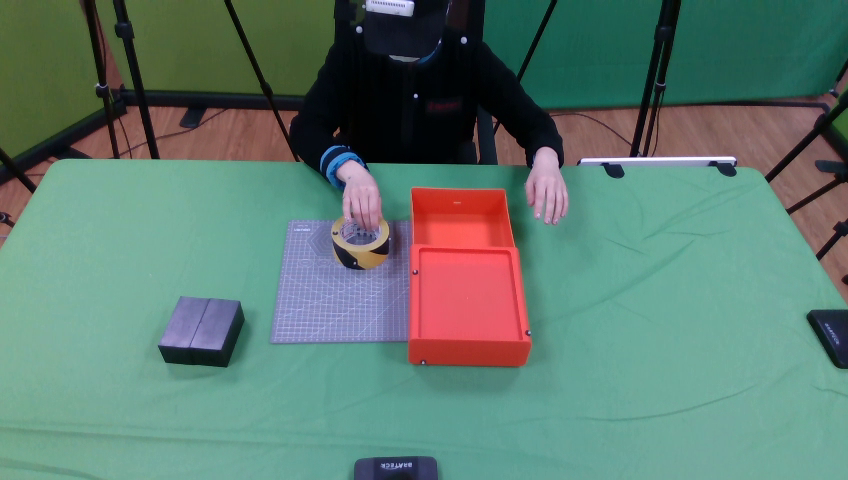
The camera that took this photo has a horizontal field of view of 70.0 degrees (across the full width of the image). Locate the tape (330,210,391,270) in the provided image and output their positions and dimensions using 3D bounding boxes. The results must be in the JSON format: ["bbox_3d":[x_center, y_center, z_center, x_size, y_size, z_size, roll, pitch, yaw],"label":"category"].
[{"bbox_3d":[-0.123,-0.002,1.164,0.117,0.053,0.116,3,46,-2],"label":"tape"}]

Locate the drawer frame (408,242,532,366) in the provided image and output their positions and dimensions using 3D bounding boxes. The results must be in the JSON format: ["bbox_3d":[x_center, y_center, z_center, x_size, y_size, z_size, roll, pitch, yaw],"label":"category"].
[{"bbox_3d":[0.073,0.107,1.053,0.202,0.083,0.212,2,47,-3],"label":"drawer frame"}]

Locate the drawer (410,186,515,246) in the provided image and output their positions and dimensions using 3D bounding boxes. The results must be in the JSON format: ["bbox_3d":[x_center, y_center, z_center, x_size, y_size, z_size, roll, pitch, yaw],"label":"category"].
[{"bbox_3d":[0.071,-0.011,1.173,0.195,0.073,0.210,1,45,-4],"label":"drawer"}]
